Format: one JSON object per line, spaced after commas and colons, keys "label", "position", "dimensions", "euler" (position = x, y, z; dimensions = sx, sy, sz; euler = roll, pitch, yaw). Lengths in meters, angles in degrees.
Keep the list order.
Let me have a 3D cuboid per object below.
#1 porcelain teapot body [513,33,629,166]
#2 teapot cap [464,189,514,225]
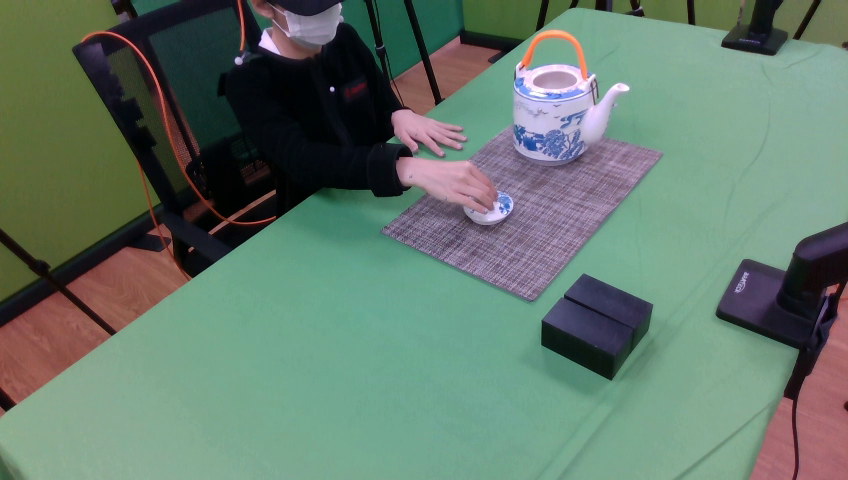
{"label": "porcelain teapot body", "position": [0.256, -0.248, 1.065], "dimensions": [0.204, 0.226, 0.145], "euler": [19, 47, 28]}
{"label": "teapot cap", "position": [0.109, -0.062, 1.009], "dimensions": [0.085, 0.044, 0.085], "euler": [-2, 39, 2]}
